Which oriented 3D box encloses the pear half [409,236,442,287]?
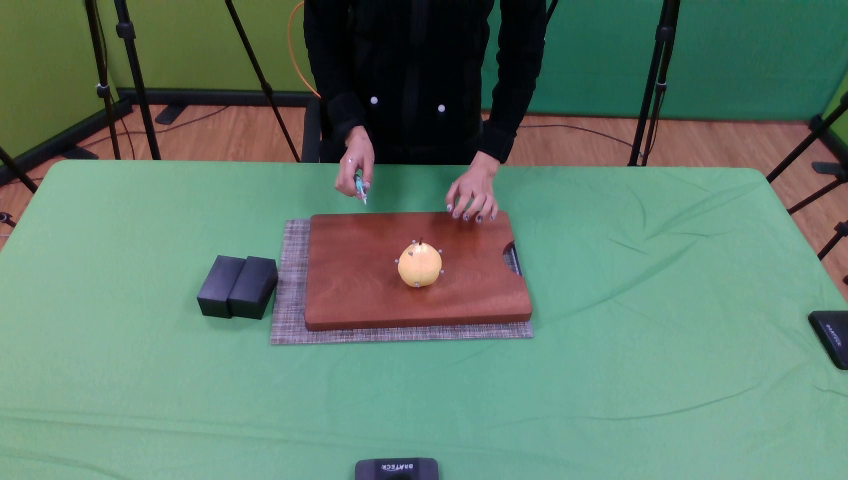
[{"bbox_3d":[0.004,0.029,1.070,0.056,0.110,0.076,-18,53,-20],"label":"pear half"}]

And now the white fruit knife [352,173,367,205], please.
[{"bbox_3d":[-0.118,-0.095,1.126,0.016,0.027,0.206,-11,20,-8],"label":"white fruit knife"}]

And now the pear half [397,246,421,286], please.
[{"bbox_3d":[-0.029,0.046,1.066,0.031,0.088,0.070,-18,55,-20],"label":"pear half"}]
